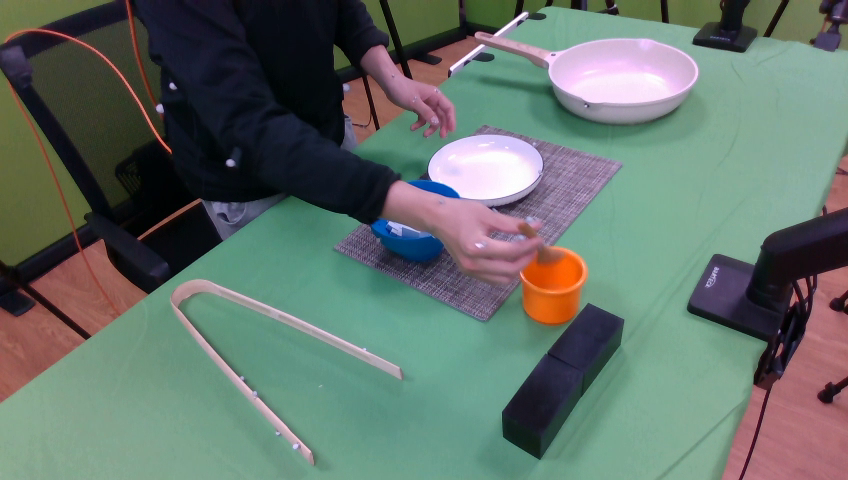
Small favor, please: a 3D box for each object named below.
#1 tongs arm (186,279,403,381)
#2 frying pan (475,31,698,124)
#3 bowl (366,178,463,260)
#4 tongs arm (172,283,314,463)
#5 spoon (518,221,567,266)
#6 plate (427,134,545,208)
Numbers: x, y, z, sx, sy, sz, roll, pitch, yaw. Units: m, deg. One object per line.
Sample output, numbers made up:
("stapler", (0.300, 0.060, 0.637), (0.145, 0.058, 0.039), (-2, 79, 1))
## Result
("tongs arm", (-0.193, 0.120, 0.853), (0.385, 0.028, 0.028), (18, 48, 26))
("frying pan", (0.320, -0.371, 1.290), (0.485, 0.103, 0.307), (28, 50, 23))
("bowl", (-0.011, -0.022, 0.945), (0.151, 0.077, 0.150), (-4, 41, 4))
("tongs arm", (-0.246, 0.161, 0.806), (0.381, 0.026, 0.051), (29, 51, 36))
("spoon", (0.136, 0.004, 0.715), (0.041, 0.195, 0.021), (-23, 66, 17))
("plate", (0.110, -0.119, 1.073), (0.207, 0.039, 0.206), (-4, 41, 4))
